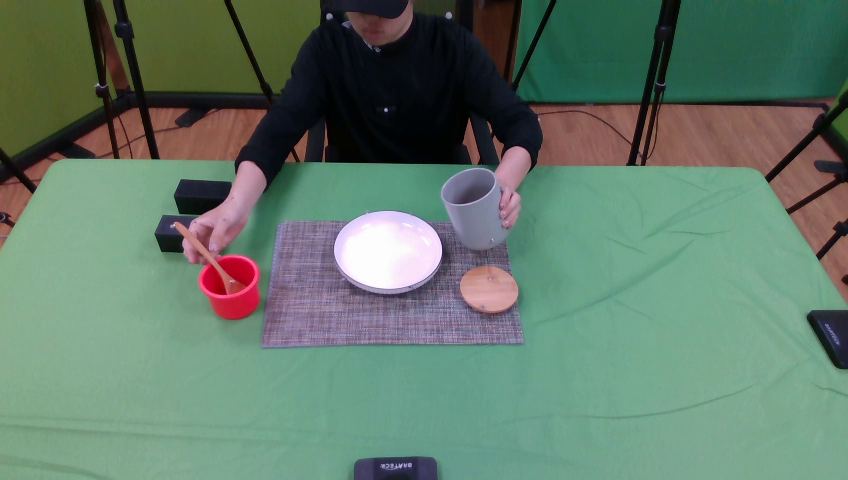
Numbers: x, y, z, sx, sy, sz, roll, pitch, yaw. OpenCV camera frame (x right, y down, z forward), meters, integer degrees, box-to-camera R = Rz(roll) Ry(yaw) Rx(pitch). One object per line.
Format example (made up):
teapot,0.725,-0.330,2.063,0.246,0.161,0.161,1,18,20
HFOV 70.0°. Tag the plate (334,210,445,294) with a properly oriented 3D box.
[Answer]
plate,-0.066,0.026,1.150,0.208,0.039,0.206,2,46,-2

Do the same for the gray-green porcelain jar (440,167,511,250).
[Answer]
gray-green porcelain jar,0.099,-0.052,1.112,0.106,0.127,0.105,-15,41,13

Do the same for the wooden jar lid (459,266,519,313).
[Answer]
wooden jar lid,0.118,0.093,1.111,0.108,0.021,0.107,2,47,-1

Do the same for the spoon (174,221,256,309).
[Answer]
spoon,-0.360,0.043,1.043,0.194,0.021,0.041,54,52,-14
